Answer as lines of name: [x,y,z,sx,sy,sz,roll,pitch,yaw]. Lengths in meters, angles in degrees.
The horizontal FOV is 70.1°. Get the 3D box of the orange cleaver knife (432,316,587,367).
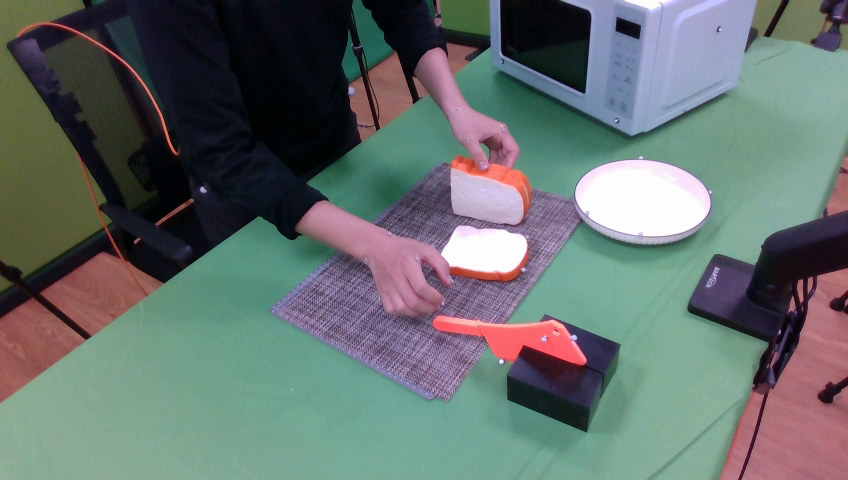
orange cleaver knife: [0.101,0.127,0.761,0.210,0.077,0.012,-1,34,40]

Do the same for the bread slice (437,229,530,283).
bread slice: [0.093,0.025,0.929,0.133,0.018,0.107,7,47,30]

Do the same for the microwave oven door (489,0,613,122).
microwave oven door: [0.250,-0.412,1.219,0.039,0.245,0.352,-27,44,-21]

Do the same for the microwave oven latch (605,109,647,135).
microwave oven latch: [0.379,-0.225,1.139,0.030,0.029,0.078,-26,43,-19]

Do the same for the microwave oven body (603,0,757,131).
microwave oven body: [0.396,-0.448,1.248,0.327,0.261,0.437,-27,44,-21]

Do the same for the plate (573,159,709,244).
plate: [0.347,-0.059,0.978,0.207,0.039,0.206,-4,41,4]
